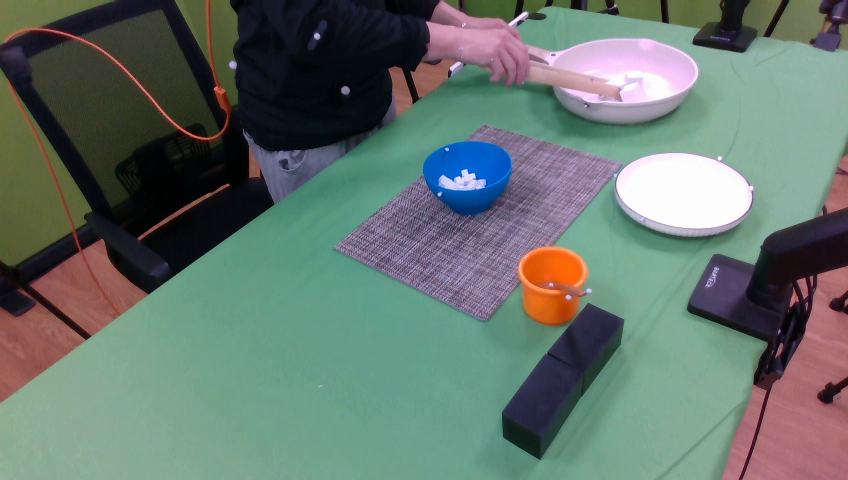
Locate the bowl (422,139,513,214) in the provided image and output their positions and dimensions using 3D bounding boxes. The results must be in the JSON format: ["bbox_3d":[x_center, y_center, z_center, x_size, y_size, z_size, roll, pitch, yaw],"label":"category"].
[{"bbox_3d":[0.075,-0.097,1.021,0.151,0.077,0.150,-4,41,4],"label":"bowl"}]

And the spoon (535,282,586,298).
[{"bbox_3d":[0.176,0.063,0.774,0.041,0.194,0.021,-4,85,0],"label":"spoon"}]

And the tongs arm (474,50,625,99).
[{"bbox_3d":[0.252,-0.309,1.146,0.388,0.026,0.050,-3,34,-40],"label":"tongs arm"}]

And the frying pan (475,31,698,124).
[{"bbox_3d":[0.320,-0.371,1.290,0.485,0.103,0.307,28,50,23],"label":"frying pan"}]

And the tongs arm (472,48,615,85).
[{"bbox_3d":[0.241,-0.321,1.161,0.391,0.028,0.028,0,35,-36],"label":"tongs arm"}]

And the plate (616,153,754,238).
[{"bbox_3d":[0.416,-0.069,0.977,0.207,0.039,0.206,-4,40,4],"label":"plate"}]
